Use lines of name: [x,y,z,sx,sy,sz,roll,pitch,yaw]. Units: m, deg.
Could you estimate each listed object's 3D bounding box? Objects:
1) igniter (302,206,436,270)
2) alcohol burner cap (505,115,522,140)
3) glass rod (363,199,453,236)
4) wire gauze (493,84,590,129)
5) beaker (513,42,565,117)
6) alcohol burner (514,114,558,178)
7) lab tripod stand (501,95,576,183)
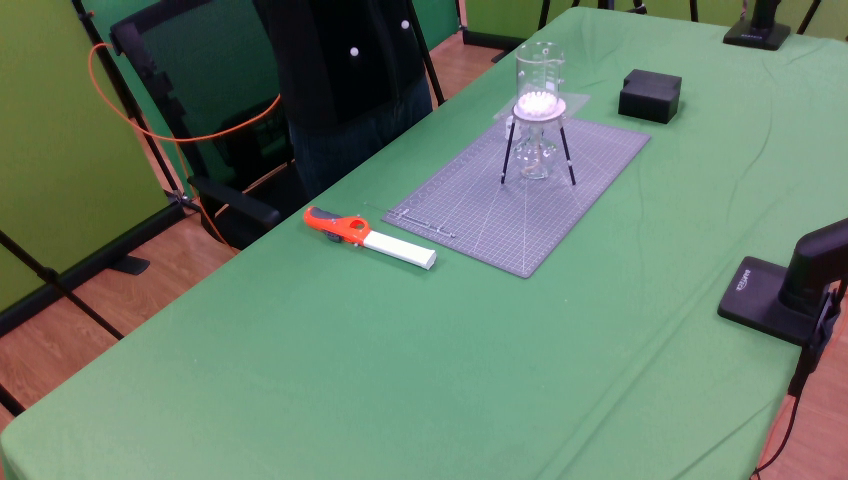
igniter: [-0.101,-0.007,1.004,0.274,0.025,0.057,19,58,29]
alcohol burner cap: [0.175,-0.223,1.192,0.034,0.048,0.033,-6,40,5]
glass rod: [-0.031,-0.041,1.041,0.198,0.008,0.008,22,50,31]
wire gauze: [0.197,-0.223,1.013,0.120,0.011,0.125,21,47,28]
beaker: [0.187,-0.257,0.981,0.083,0.101,0.074,21,49,29]
alcohol burner: [0.198,-0.170,1.069,0.078,0.119,0.077,-4,40,4]
lab tripod stand: [0.204,-0.174,1.057,0.148,0.132,0.147,-4,40,4]
